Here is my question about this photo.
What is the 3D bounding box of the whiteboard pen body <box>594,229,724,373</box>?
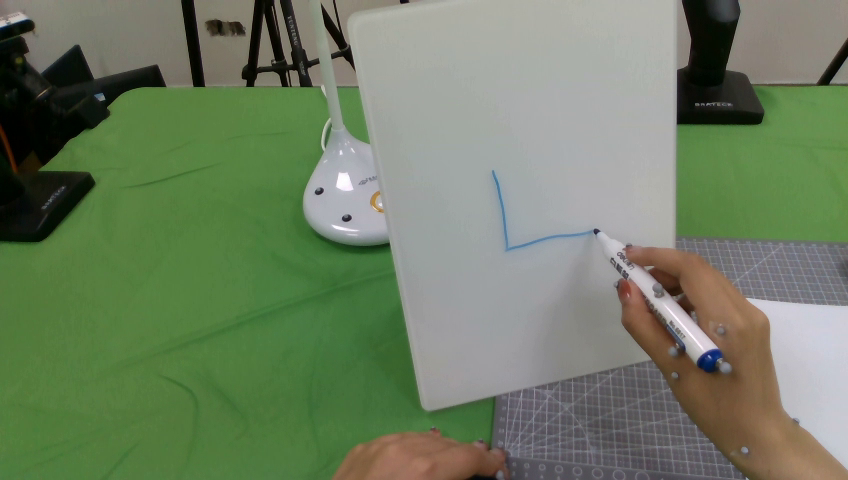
[{"bbox_3d":[0.146,0.032,0.395,0.017,0.017,0.139,-14,38,-9],"label":"whiteboard pen body"}]

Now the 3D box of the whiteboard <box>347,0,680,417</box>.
[{"bbox_3d":[0.072,-0.044,0.498,0.217,0.307,0.142,-12,23,-5],"label":"whiteboard"}]

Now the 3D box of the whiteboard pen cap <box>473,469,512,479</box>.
[{"bbox_3d":[0.051,0.172,0.421,0.033,0.018,0.018,3,40,35],"label":"whiteboard pen cap"}]

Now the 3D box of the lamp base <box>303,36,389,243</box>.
[{"bbox_3d":[-0.073,-0.114,0.645,0.160,0.182,0.177,-31,45,-25],"label":"lamp base"}]
